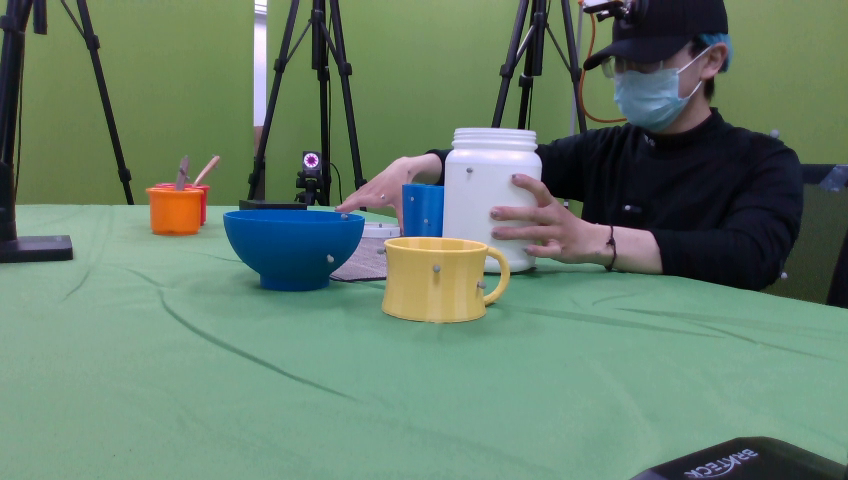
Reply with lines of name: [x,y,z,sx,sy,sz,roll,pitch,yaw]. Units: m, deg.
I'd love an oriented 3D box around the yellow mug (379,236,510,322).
yellow mug: [0.024,0.034,0.575,0.131,0.064,0.099,1,7,-22]

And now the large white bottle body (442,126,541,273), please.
large white bottle body: [0.090,-0.056,0.815,0.131,0.184,0.130,2,7,0]

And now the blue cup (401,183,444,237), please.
blue cup: [0.002,-0.038,0.966,0.093,0.100,0.092,3,8,0]

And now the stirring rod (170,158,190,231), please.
stirring rod: [-0.426,-0.082,1.060,0.014,0.006,0.175,2,50,-13]

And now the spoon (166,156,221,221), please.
spoon: [-0.447,-0.104,1.192,0.041,0.022,0.193,7,52,14]

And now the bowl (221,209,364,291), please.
bowl: [-0.142,0.011,0.660,0.151,0.077,0.151,2,7,0]

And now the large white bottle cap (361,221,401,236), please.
large white bottle cap: [-0.099,-0.021,1.123,0.115,0.018,0.115,2,7,0]
